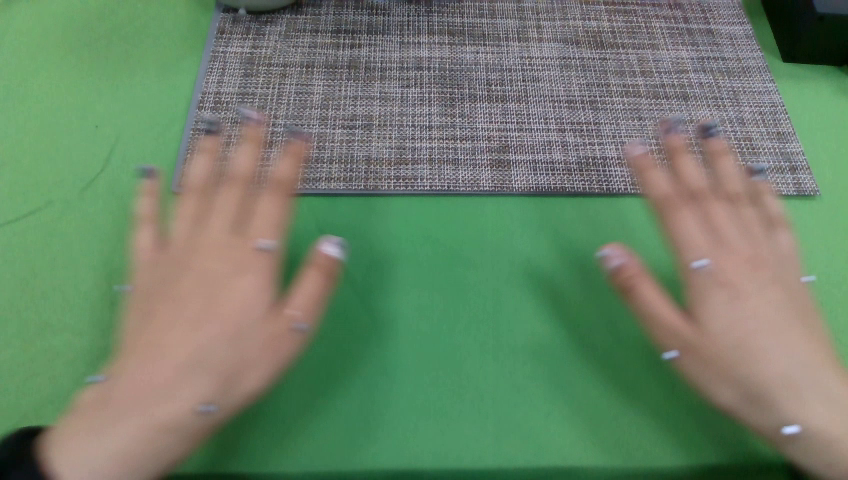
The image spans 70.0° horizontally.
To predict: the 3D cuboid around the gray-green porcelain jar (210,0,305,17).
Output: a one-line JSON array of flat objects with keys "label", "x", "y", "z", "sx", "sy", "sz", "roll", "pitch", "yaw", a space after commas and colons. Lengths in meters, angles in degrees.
[{"label": "gray-green porcelain jar", "x": -0.139, "y": -0.252, "z": 0.475, "sx": 0.106, "sy": 0.127, "sz": 0.105, "roll": 1, "pitch": 58, "yaw": -2}]
